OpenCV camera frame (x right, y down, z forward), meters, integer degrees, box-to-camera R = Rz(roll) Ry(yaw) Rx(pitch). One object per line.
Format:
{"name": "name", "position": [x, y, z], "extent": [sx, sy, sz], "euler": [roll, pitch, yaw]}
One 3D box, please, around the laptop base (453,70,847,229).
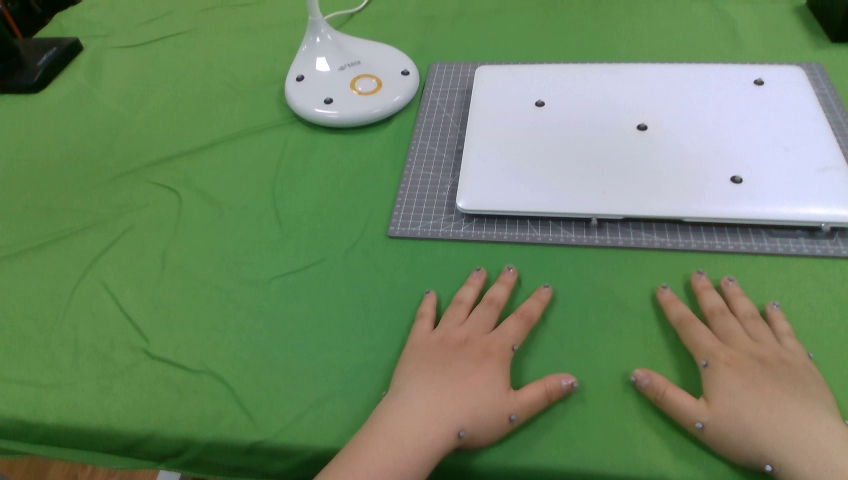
{"name": "laptop base", "position": [0.215, -0.098, 0.614], "extent": [0.354, 0.023, 0.233], "euler": [2, 51, 8]}

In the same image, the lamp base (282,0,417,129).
{"name": "lamp base", "position": [-0.104, -0.242, 0.673], "extent": [0.160, 0.182, 0.177], "euler": [-36, 50, -25]}

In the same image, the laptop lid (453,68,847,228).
{"name": "laptop lid", "position": [0.214, -0.104, 0.604], "extent": [0.356, 0.013, 0.239], "euler": [3, 50, 10]}
